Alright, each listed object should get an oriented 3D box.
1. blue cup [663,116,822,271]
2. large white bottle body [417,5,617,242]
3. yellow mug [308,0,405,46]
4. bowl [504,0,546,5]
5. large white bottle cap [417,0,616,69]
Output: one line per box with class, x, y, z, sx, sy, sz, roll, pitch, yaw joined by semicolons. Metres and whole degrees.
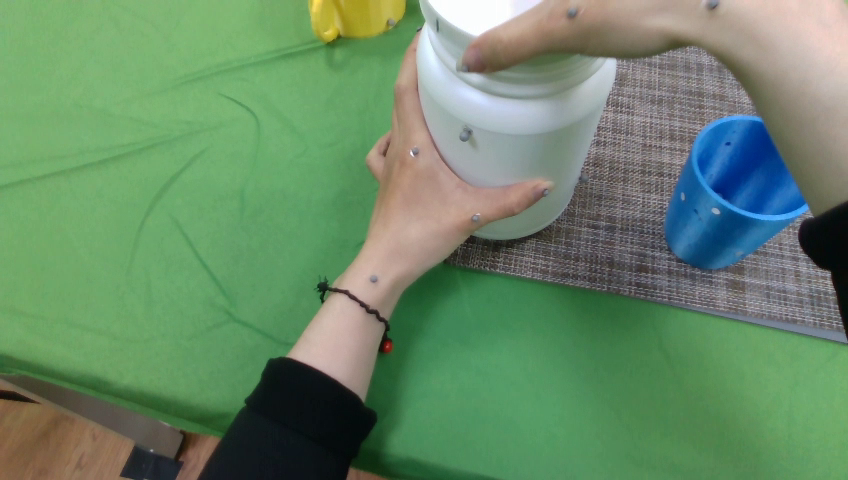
blue cup;0.220;-0.025;0.444;0.092;0.101;0.092;-1;61;2
large white bottle body;0.059;-0.096;0.436;0.130;0.186;0.129;0;61;0
yellow mug;-0.076;-0.244;0.589;0.099;0.064;0.130;21;64;11
bowl;0.104;-0.294;0.611;0.151;0.077;0.150;0;61;0
large white bottle cap;0.053;-0.147;0.347;0.115;0.018;0.114;-1;64;2
